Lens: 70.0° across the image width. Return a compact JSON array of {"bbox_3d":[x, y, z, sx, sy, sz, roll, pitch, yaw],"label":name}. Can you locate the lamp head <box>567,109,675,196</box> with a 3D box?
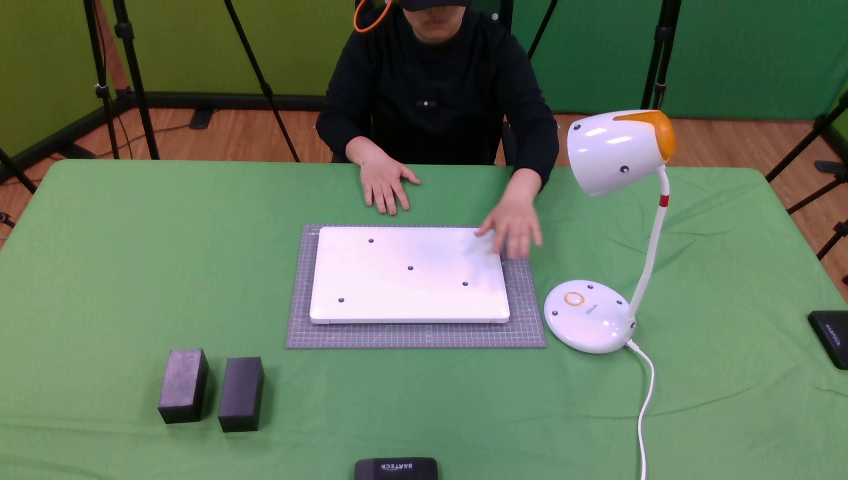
[{"bbox_3d":[0.272,-0.123,0.818,0.122,0.113,0.112,-9,35,37],"label":"lamp head"}]

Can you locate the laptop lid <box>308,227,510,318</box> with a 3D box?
[{"bbox_3d":[-0.028,0.055,1.129,0.357,0.013,0.240,2,44,-3],"label":"laptop lid"}]

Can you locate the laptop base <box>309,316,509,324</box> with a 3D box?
[{"bbox_3d":[-0.028,0.065,1.136,0.355,0.023,0.234,0,43,-4],"label":"laptop base"}]

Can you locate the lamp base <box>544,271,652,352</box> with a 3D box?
[{"bbox_3d":[0.310,0.086,1.029,0.178,0.181,0.160,32,52,21],"label":"lamp base"}]
